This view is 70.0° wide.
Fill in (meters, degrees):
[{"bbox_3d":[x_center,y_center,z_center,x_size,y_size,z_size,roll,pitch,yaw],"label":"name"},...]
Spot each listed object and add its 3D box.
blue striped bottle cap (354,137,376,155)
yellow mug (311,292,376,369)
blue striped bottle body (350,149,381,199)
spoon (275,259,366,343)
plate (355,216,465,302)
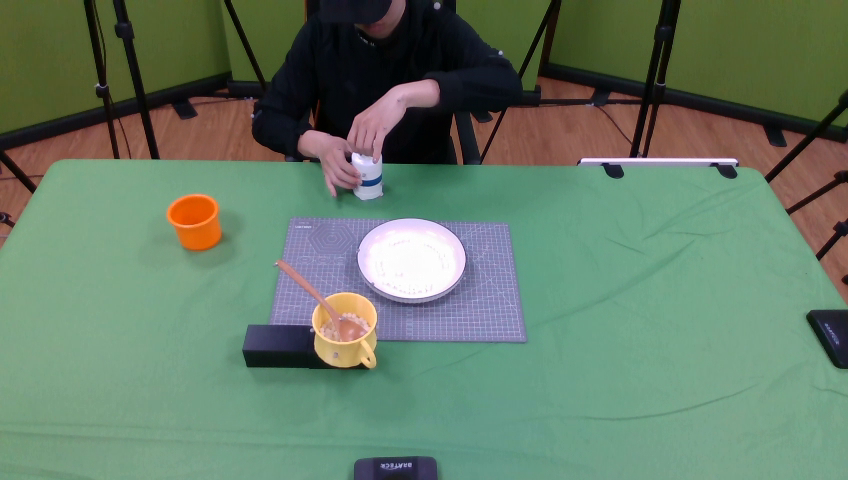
[{"bbox_3d":[-0.118,-0.190,1.220,0.044,0.021,0.044,6,37,-4],"label":"blue striped bottle cap"},{"bbox_3d":[-0.115,0.150,0.945,0.100,0.064,0.130,-30,57,-28],"label":"yellow mug"},{"bbox_3d":[-0.121,-0.148,1.263,0.063,0.121,0.062,2,47,-1],"label":"blue striped bottle body"},{"bbox_3d":[-0.161,0.098,0.946,0.194,0.021,0.041,48,56,-5],"label":"spoon"},{"bbox_3d":[-0.027,0.039,1.144,0.208,0.039,0.206,2,46,-2],"label":"plate"}]
